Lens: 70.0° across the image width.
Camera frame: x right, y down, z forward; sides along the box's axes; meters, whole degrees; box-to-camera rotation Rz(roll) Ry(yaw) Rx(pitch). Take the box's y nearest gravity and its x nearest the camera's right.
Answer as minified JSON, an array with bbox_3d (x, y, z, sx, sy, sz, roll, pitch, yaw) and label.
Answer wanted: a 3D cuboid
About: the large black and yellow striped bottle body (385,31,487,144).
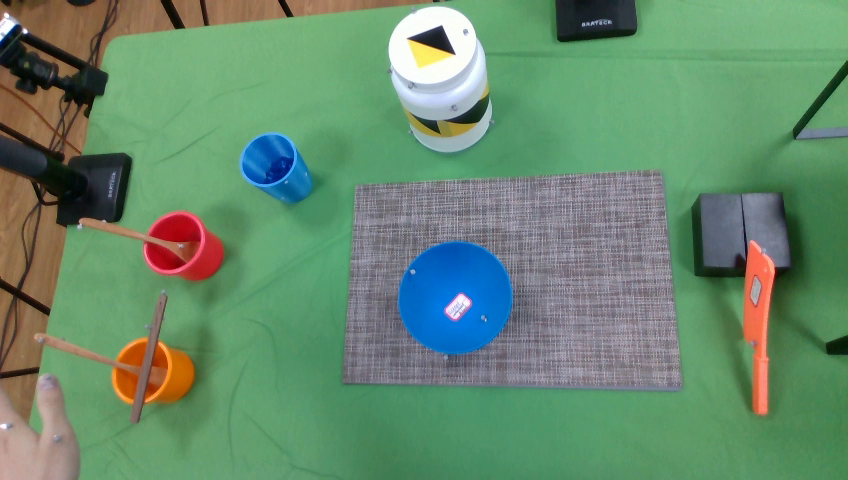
[{"bbox_3d":[0.020,-0.231,0.856,0.130,0.185,0.130,-3,72,9],"label":"large black and yellow striped bottle body"}]

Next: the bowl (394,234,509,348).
[{"bbox_3d":[0.041,0.074,0.813,0.151,0.077,0.150,-3,73,9],"label":"bowl"}]

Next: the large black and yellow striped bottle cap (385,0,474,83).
[{"bbox_3d":[0.006,-0.256,0.777,0.115,0.019,0.114,-3,74,10],"label":"large black and yellow striped bottle cap"}]

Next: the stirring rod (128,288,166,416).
[{"bbox_3d":[-0.379,0.151,0.828,0.014,0.006,0.175,4,75,9],"label":"stirring rod"}]

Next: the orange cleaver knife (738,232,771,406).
[{"bbox_3d":[0.402,0.097,0.744,0.012,0.077,0.212,-4,103,5],"label":"orange cleaver knife"}]

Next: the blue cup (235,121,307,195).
[{"bbox_3d":[-0.220,-0.111,0.906,0.092,0.101,0.092,-2,75,8],"label":"blue cup"}]

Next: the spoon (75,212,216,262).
[{"bbox_3d":[-0.403,-0.009,0.886,0.195,0.021,0.041,21,72,-29],"label":"spoon"}]

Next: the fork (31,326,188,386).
[{"bbox_3d":[-0.430,0.160,0.836,0.209,0.018,0.028,28,86,-28],"label":"fork"}]
